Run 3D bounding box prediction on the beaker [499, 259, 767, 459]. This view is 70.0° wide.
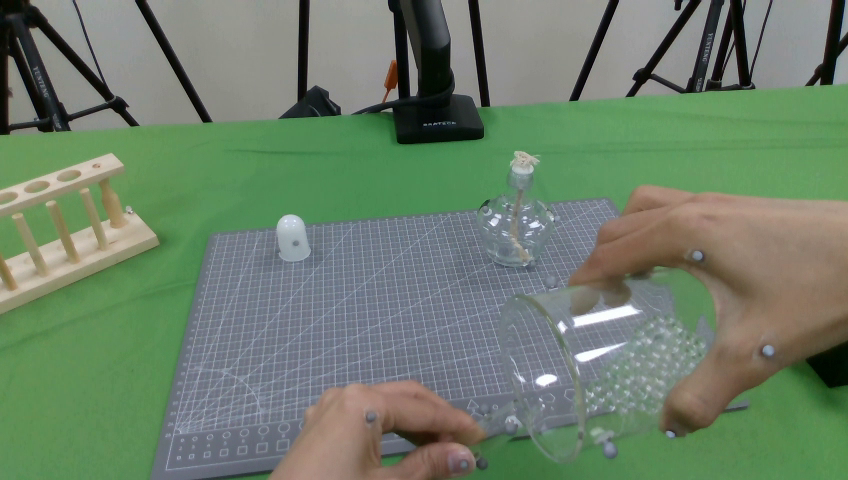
[{"bbox_3d":[0.094,0.052,0.281,0.100,0.084,0.073,-11,53,-14],"label":"beaker"}]

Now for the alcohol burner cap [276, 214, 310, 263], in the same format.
[{"bbox_3d":[-0.135,-0.004,0.613,0.034,0.048,0.033,-1,38,1],"label":"alcohol burner cap"}]

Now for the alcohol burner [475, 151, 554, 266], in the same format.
[{"bbox_3d":[0.090,-0.034,0.589,0.078,0.120,0.077,1,38,0],"label":"alcohol burner"}]

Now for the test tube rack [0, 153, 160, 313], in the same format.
[{"bbox_3d":[-0.392,0.007,0.573,0.242,0.086,0.066,-29,46,-32],"label":"test tube rack"}]

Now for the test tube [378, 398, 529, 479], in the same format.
[{"bbox_3d":[-0.004,0.127,0.329,0.150,0.017,0.017,-39,30,24],"label":"test tube"}]

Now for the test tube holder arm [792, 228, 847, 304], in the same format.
[{"bbox_3d":[0.346,0.043,0.489,0.015,0.013,0.176,1,38,1],"label":"test tube holder arm"}]

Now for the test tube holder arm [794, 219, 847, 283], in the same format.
[{"bbox_3d":[0.347,0.011,0.521,0.015,0.010,0.087,1,38,1],"label":"test tube holder arm"}]
